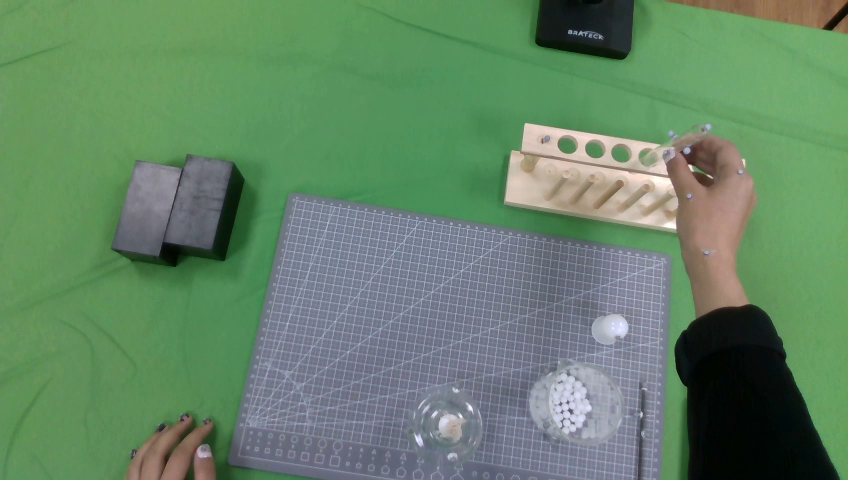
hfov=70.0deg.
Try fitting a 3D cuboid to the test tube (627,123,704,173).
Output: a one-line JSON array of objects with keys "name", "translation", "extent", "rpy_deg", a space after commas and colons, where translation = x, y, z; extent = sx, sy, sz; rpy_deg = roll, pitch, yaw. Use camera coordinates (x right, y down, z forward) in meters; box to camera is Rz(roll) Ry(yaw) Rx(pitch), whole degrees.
[{"name": "test tube", "translation": [0.240, -0.091, 0.618], "extent": [0.017, 0.150, 0.017], "rpy_deg": [0, 84, -3]}]

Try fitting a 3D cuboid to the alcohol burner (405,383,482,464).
[{"name": "alcohol burner", "translation": [0.021, 0.179, 0.593], "extent": [0.078, 0.119, 0.077], "rpy_deg": [1, 73, -3]}]

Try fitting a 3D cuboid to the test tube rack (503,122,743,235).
[{"name": "test tube rack", "translation": [0.219, -0.067, 0.686], "extent": [0.242, 0.085, 0.066], "rpy_deg": [9, 75, -1]}]

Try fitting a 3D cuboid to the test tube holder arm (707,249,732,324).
[{"name": "test tube holder arm", "translation": [0.343, 0.053, 0.699], "extent": [0.010, 0.015, 0.087], "rpy_deg": [-16, 76, 28]}]

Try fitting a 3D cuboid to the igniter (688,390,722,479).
[{"name": "igniter", "translation": [0.286, 0.297, 0.628], "extent": [0.057, 0.025, 0.275], "rpy_deg": [13, 75, -11]}]

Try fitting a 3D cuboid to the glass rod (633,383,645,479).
[{"name": "glass rod", "translation": [0.225, 0.253, 0.641], "extent": [0.008, 0.008, 0.198], "rpy_deg": [9, 75, -2]}]

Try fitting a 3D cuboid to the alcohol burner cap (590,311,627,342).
[{"name": "alcohol burner cap", "translation": [0.204, 0.093, 0.664], "extent": [0.034, 0.048, 0.033], "rpy_deg": [1, 76, -3]}]

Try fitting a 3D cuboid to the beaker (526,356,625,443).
[{"name": "beaker", "translation": [0.146, 0.160, 0.613], "extent": [0.074, 0.100, 0.083], "rpy_deg": [-22, 77, -9]}]

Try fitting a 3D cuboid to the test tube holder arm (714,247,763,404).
[{"name": "test tube holder arm", "translation": [0.355, 0.095, 0.687], "extent": [0.013, 0.015, 0.177], "rpy_deg": [-17, 75, 27]}]
